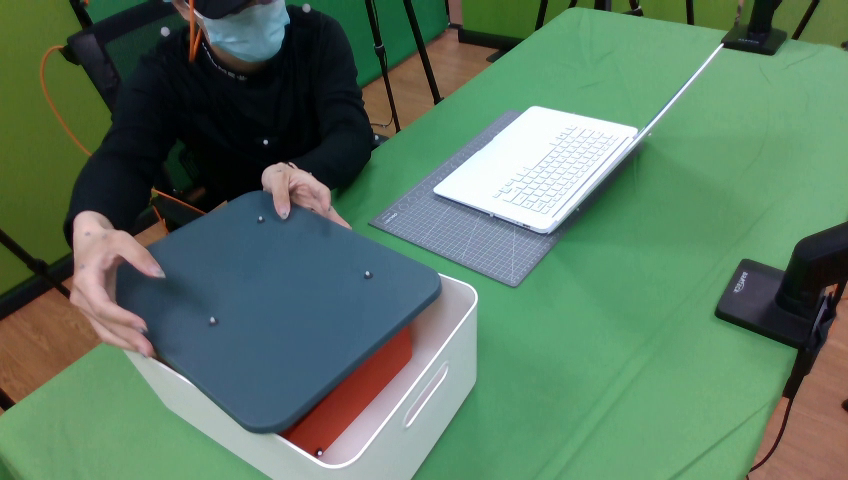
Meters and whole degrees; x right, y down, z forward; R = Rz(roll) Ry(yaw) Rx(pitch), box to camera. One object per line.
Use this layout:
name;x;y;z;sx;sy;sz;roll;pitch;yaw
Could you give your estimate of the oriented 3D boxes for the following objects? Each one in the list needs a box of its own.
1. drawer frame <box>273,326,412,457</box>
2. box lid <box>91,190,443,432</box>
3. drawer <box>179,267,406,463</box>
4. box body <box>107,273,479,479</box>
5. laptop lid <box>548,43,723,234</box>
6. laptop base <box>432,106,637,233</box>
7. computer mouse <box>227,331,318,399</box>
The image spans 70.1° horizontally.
drawer frame;-0.161;0.144;0.769;0.212;0.083;0.202;24;50;31
box lid;-0.190;0.050;0.701;0.368;0.015;0.264;24;45;35
drawer;-0.163;0.148;0.772;0.210;0.073;0.195;23;47;30
box body;-0.140;0.136;0.725;0.361;0.161;0.254;19;47;28
laptop lid;0.336;-0.160;0.956;0.013;0.241;0.358;43;54;8
laptop base;0.210;-0.142;1.111;0.233;0.023;0.355;21;48;33
computer mouse;-0.202;0.159;0.805;0.118;0.041;0.062;-29;40;-33
